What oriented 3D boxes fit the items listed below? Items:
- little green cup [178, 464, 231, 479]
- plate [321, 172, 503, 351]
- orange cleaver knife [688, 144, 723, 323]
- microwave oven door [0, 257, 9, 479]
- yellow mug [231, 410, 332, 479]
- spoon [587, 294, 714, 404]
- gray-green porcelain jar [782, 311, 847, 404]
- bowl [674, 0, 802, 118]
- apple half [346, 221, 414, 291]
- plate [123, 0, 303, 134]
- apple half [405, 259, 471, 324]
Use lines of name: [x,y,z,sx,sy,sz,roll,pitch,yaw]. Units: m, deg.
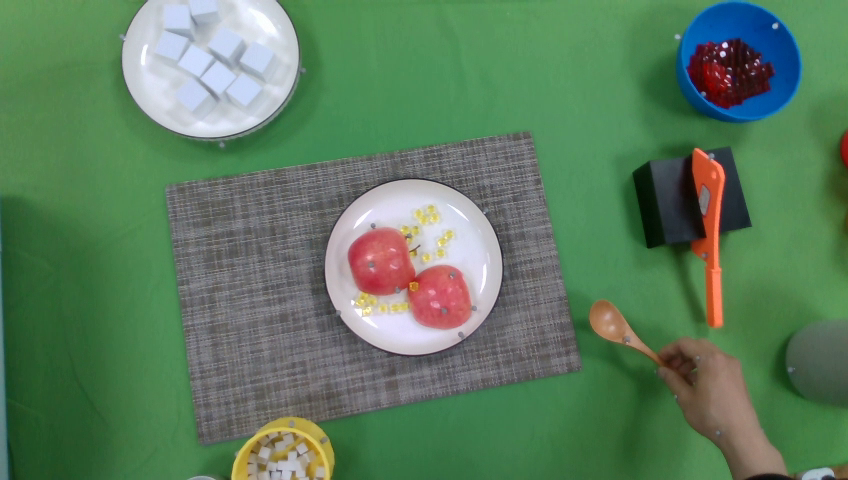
little green cup: [-0.238,0.275,0.660,0.061,0.038,0.061,0,84,-4]
plate: [-0.014,0.025,0.709,0.209,0.038,0.208,1,83,-4]
orange cleaver knife: [0.333,-0.007,0.720,0.012,0.077,0.212,-8,106,-1]
microwave oven door: [-0.461,0.163,0.539,0.039,0.244,0.354,-7,82,-5]
yellow mug: [-0.152,0.256,0.655,0.100,0.064,0.130,2,85,-5]
spoon: [0.264,0.131,0.704,0.194,0.022,0.041,39,69,0]
gray-green porcelain jar: [0.487,0.133,0.690,0.106,0.127,0.105,1,81,-4]
bowl: [0.374,-0.214,0.755,0.151,0.077,0.151,1,82,-4]
apple half: [-0.051,0.017,0.691,0.075,0.053,0.080,-11,83,-3]
plate: [-0.249,-0.224,0.730,0.208,0.039,0.207,1,82,-4]
apple half: [0.017,0.060,0.700,0.081,0.033,0.081,1,80,-3]
